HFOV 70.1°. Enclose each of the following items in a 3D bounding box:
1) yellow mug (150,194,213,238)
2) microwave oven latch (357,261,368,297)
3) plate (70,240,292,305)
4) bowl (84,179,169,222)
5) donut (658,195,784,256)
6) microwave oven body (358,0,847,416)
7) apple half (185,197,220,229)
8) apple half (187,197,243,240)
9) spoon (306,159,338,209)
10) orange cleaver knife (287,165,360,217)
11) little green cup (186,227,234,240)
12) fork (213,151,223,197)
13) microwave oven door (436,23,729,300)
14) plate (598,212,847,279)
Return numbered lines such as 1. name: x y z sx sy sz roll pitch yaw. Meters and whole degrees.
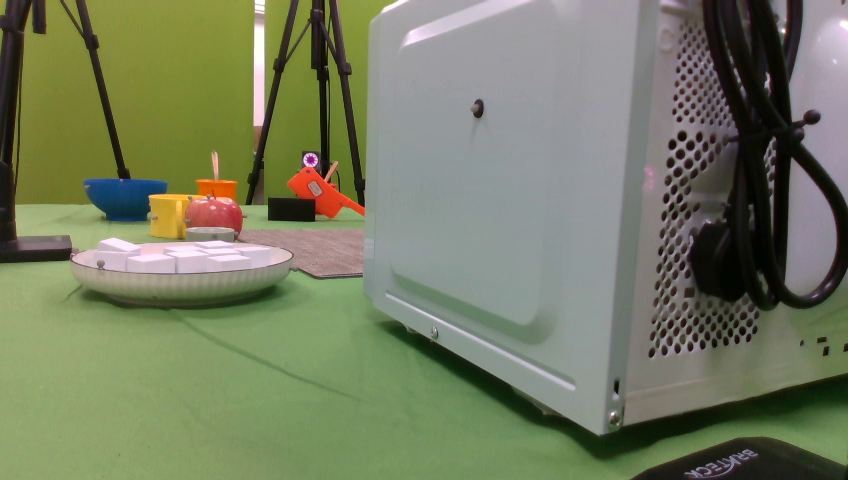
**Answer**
1. yellow mug: -0.401 -0.040 1.003 0.100 0.064 0.130 -1 9 -20
2. microwave oven latch: -0.019 0.033 0.531 0.079 0.029 0.030 -1 7 -27
3. plate: -0.242 0.031 0.618 0.208 0.039 0.207 2 8 0
4. bowl: -0.584 -0.078 1.194 0.151 0.077 0.151 3 8 0
5. donut: 0.252 -0.012 0.517 0.099 0.048 0.099 5 7 0
6. microwave oven body: 0.211 -0.047 0.474 0.444 0.260 0.324 -1 7 -28
7. apple half: -0.338 -0.031 0.927 0.032 0.081 0.081 12 12 31
8. apple half: -0.305 -0.026 0.907 0.053 0.074 0.081 12 8 31
9. spoon: -0.257 -0.147 1.567 0.041 0.022 0.193 2 51 20
10. orange cleaver knife: -0.210 -0.093 1.382 0.212 0.077 0.012 33 1 -15
11. little green cup: -0.285 0.005 0.805 0.061 0.038 0.061 2 8 0
12. fork: -0.493 -0.143 1.442 0.028 0.018 0.206 -3 52 -18
13. microwave oven door: 0.180 -0.072 0.621 0.358 0.243 0.039 -2 9 -29
14. plate: 0.255 0.002 0.519 0.209 0.038 0.209 2 7 0
